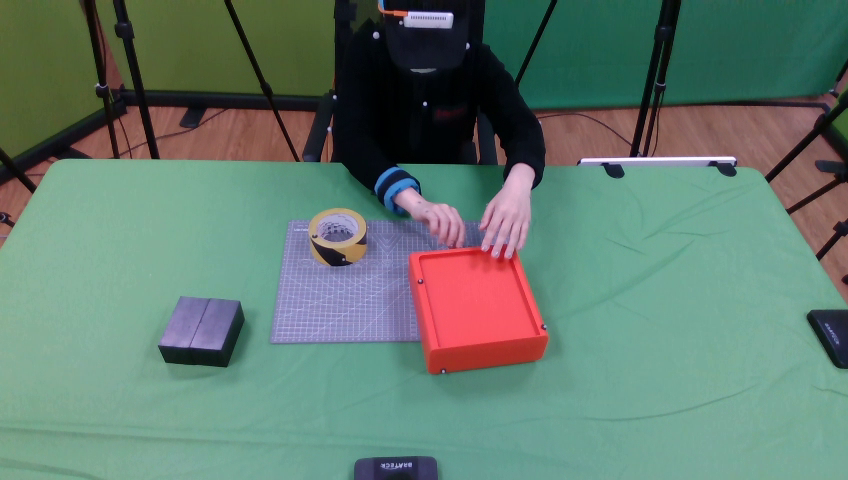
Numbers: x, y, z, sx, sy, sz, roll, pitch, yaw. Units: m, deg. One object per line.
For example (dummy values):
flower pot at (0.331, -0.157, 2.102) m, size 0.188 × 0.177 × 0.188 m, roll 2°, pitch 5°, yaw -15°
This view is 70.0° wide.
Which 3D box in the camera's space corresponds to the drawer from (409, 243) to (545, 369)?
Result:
drawer at (0.085, 0.110, 1.053) m, size 0.195 × 0.073 × 0.210 m, roll -5°, pitch 47°, yaw -10°

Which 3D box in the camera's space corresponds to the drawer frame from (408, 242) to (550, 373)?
drawer frame at (0.087, 0.111, 1.051) m, size 0.202 × 0.083 × 0.212 m, roll -6°, pitch 48°, yaw -10°

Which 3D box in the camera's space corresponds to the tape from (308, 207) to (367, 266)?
tape at (-0.167, -0.008, 1.167) m, size 0.117 × 0.053 × 0.116 m, roll 3°, pitch 46°, yaw -2°
